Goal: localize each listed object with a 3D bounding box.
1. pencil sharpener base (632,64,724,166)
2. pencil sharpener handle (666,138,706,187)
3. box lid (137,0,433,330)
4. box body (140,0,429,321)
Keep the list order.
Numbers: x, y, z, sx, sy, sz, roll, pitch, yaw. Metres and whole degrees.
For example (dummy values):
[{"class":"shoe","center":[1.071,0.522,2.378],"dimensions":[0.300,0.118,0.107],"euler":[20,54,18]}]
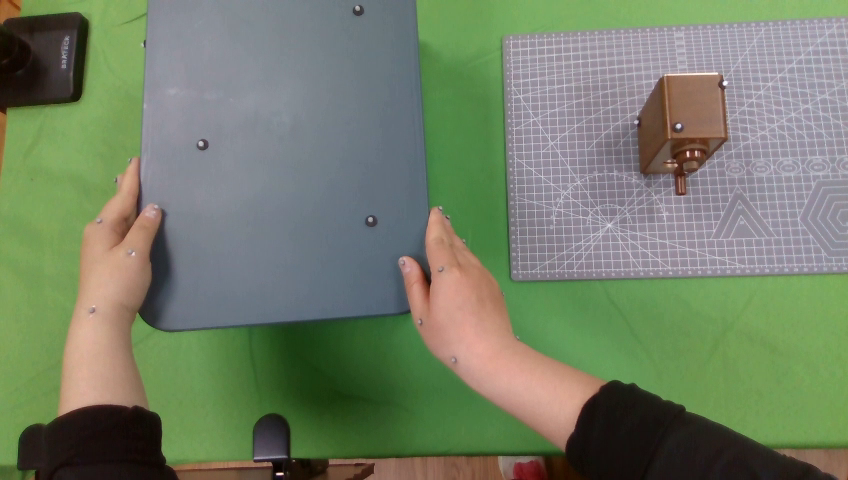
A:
[{"class":"pencil sharpener base","center":[0.261,-0.124,0.631],"dimensions":[0.061,0.107,0.076],"euler":[-1,79,5]},{"class":"pencil sharpener handle","center":[0.262,-0.076,0.609],"dimensions":[0.036,0.068,0.030],"euler":[-3,78,11]},{"class":"box lid","center":[-0.134,-0.111,0.558],"dimensions":[0.263,0.015,0.370],"euler":[-5,79,2]},{"class":"box body","center":[-0.130,-0.100,0.637],"dimensions":[0.254,0.161,0.362],"euler":[-5,78,4]}]
